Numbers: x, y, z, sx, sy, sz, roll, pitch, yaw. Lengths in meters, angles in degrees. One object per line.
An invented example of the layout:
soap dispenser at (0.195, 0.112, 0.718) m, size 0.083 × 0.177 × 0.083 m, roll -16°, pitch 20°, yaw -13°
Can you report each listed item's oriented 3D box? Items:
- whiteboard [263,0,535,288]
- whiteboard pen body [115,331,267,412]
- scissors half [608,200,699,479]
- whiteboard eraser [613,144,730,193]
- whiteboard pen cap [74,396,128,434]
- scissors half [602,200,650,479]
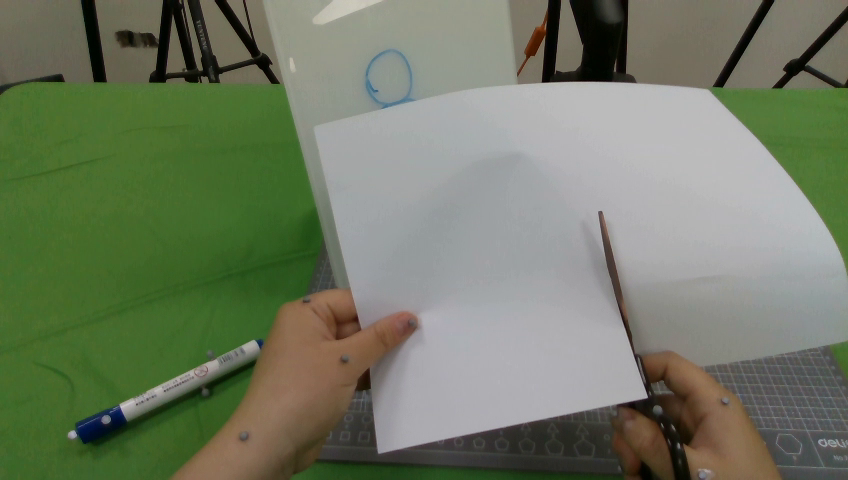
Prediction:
whiteboard at (-0.034, -0.145, 0.597) m, size 0.218 × 0.307 × 0.142 m, roll -18°, pitch 23°, yaw -17°
whiteboard pen body at (-0.190, 0.106, 0.474) m, size 0.141 × 0.017 × 0.017 m, roll -24°, pitch 45°, yaw -27°
scissors half at (0.127, 0.059, 0.349) m, size 0.013 × 0.040 × 0.174 m, roll -5°, pitch 73°, yaw -17°
whiteboard eraser at (0.271, -0.079, 0.668) m, size 0.113 × 0.042 × 0.055 m, roll 0°, pitch 42°, yaw 0°
whiteboard pen cap at (-0.238, 0.128, 0.447) m, size 0.033 × 0.018 × 0.018 m, roll -26°, pitch 46°, yaw -27°
scissors half at (0.121, 0.063, 0.368) m, size 0.013 × 0.175 × 0.040 m, roll -4°, pitch 2°, yaw -22°
